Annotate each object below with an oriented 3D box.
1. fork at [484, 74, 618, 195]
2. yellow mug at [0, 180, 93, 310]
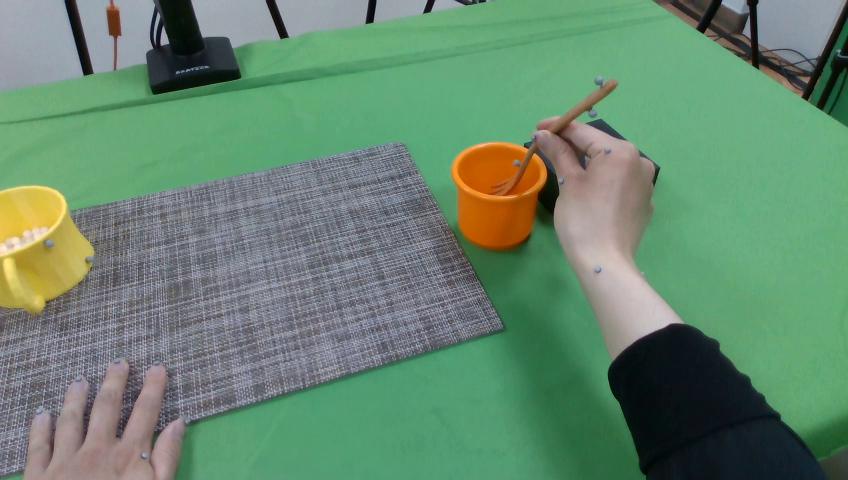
[{"bbox_3d":[0.101,-0.084,0.525,0.018,0.208,0.028,33,63,-4],"label":"fork"},{"bbox_3d":[-0.366,0.010,0.554,0.100,0.064,0.129,-19,48,-18],"label":"yellow mug"}]
